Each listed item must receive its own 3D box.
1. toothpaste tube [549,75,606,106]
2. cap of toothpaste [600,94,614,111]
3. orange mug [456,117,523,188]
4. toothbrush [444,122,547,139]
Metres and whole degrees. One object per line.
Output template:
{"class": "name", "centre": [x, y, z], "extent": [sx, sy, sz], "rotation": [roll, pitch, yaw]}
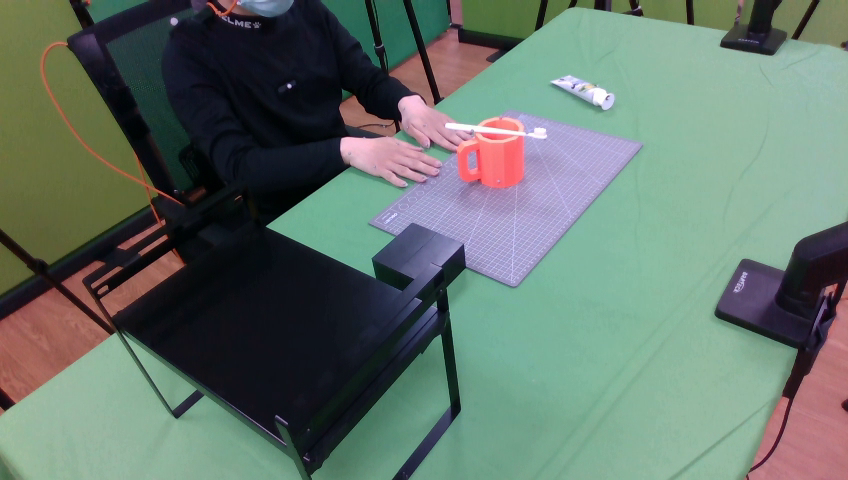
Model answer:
{"class": "toothpaste tube", "centre": [0.339, -0.324, 1.299], "extent": [0.055, 0.034, 0.163], "rotation": [-16, 37, -21]}
{"class": "cap of toothpaste", "centre": [0.373, -0.283, 1.238], "extent": [0.037, 0.037, 0.011], "rotation": [-29, 46, -23]}
{"class": "orange mug", "centre": [0.117, -0.152, 1.071], "extent": [0.127, 0.101, 0.083], "rotation": [-14, 41, -15]}
{"class": "toothbrush", "centre": [0.121, -0.190, 1.035], "extent": [0.181, 0.017, 0.014], "rotation": [9, 46, 18]}
